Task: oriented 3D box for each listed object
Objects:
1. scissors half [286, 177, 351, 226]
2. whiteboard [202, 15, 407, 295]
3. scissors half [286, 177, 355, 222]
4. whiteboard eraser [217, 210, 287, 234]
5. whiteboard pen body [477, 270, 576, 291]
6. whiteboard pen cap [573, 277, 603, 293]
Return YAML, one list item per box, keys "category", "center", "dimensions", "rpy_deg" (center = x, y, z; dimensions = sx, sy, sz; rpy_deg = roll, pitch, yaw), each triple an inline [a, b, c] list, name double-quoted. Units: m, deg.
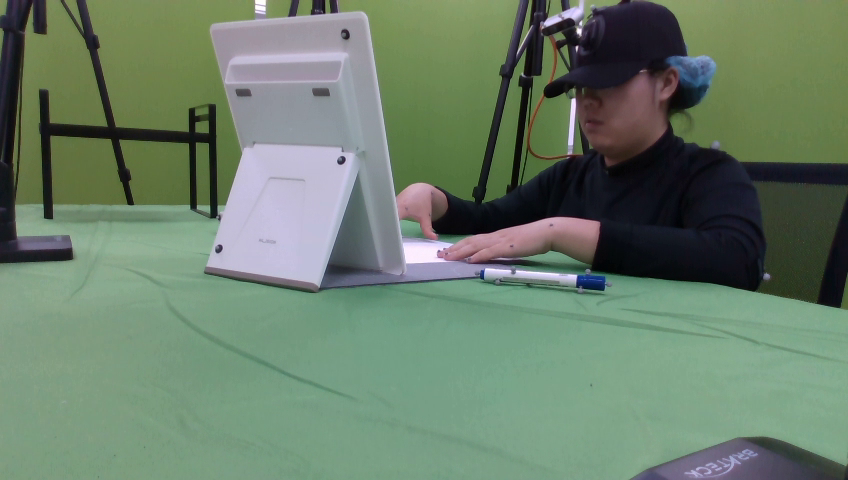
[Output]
- category: "scissors half"
  center: [-0.232, -0.086, 1.317]
  dimensions: [0.175, 0.013, 0.040]
  rpy_deg: [37, 17, 5]
- category: "whiteboard"
  center: [-0.167, -0.073, 0.668]
  dimensions: [0.216, 0.305, 0.144]
  rpy_deg: [7, 30, 28]
- category: "scissors half"
  center: [-0.229, -0.090, 1.337]
  dimensions: [0.175, 0.013, 0.040]
  rpy_deg: [33, 12, -13]
- category: "whiteboard eraser"
  center: [-0.310, -0.034, 1.094]
  dimensions: [0.113, 0.042, 0.055]
  rpy_deg: [-2, 11, -38]
- category: "whiteboard pen body"
  center: [0.131, 0.048, 0.706]
  dimensions: [0.140, 0.017, 0.017]
  rpy_deg: [4, 8, 18]
- category: "whiteboard pen cap"
  center: [0.186, 0.051, 0.687]
  dimensions: [0.033, 0.018, 0.018]
  rpy_deg: [4, 8, 17]
